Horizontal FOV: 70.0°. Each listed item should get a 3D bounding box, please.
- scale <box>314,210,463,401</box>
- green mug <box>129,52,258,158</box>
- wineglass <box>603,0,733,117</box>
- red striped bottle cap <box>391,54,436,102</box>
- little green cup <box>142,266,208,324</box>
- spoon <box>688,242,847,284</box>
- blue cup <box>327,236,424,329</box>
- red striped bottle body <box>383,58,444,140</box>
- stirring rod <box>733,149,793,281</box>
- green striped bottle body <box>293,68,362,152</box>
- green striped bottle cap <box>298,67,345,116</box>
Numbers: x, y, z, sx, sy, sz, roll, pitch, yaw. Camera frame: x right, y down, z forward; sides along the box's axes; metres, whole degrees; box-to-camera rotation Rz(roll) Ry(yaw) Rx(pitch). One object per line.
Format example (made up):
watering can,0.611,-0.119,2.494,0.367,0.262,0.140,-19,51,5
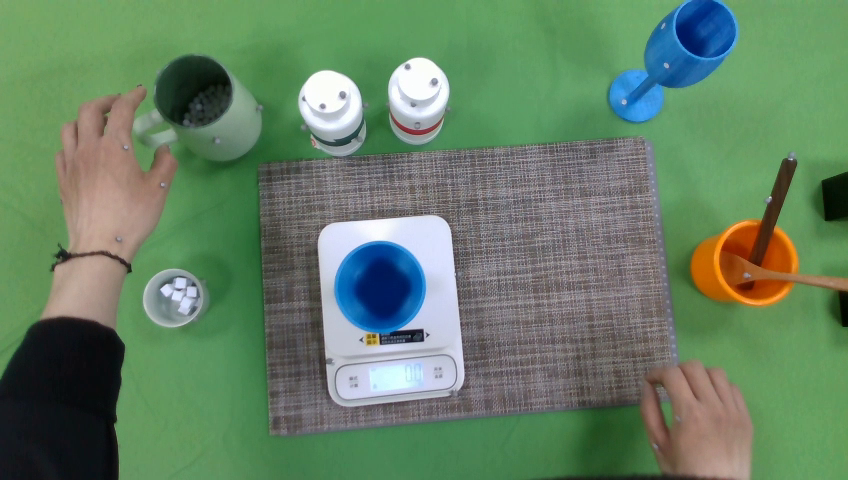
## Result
scale,-0.039,0.070,0.661,0.149,0.031,0.200,-5,85,-3
green mug,-0.246,-0.133,0.640,0.125,0.105,0.092,-27,86,-5
wineglass,0.248,-0.188,0.636,0.074,0.172,0.073,0,83,-2
red striped bottle cap,-0.010,-0.159,0.594,0.044,0.018,0.044,1,82,-5
little green cup,-0.264,0.060,0.651,0.061,0.038,0.061,0,84,-4
spoon,0.377,0.031,0.632,0.022,0.192,0.041,9,90,-45
blue cup,-0.044,0.043,0.598,0.093,0.100,0.092,0,85,-3
red striped bottle body,-0.012,-0.153,0.646,0.063,0.120,0.063,0,83,-3
stirring rod,0.353,-0.019,0.636,0.014,0.178,0.005,2,43,10
green striped bottle body,-0.101,-0.138,0.640,0.063,0.119,0.063,0,83,-2
green striped bottle cap,-0.100,-0.145,0.588,0.044,0.020,0.044,0,83,-3
